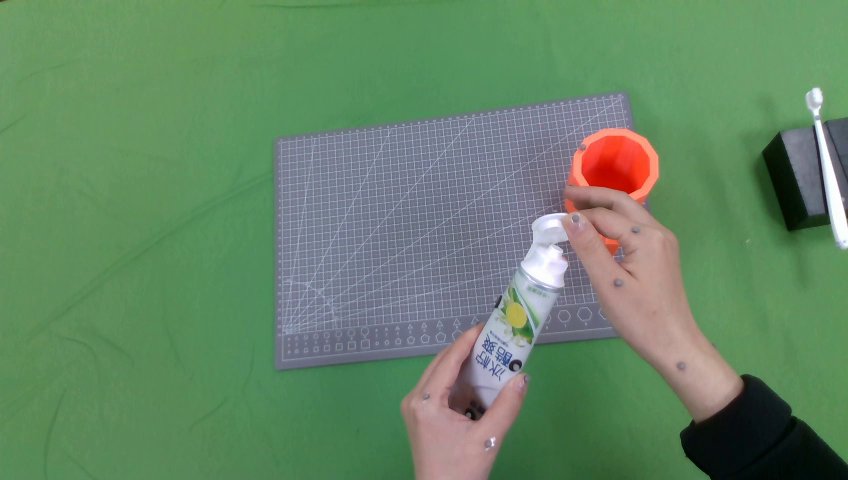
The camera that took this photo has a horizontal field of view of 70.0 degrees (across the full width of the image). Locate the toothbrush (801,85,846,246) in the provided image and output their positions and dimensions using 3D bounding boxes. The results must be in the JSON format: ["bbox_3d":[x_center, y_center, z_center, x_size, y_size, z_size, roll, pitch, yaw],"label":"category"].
[{"bbox_3d":[0.422,-0.082,0.638,0.014,0.017,0.181,-1,73,4],"label":"toothbrush"}]

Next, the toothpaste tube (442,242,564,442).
[{"bbox_3d":[0.060,0.073,0.455,0.054,0.035,0.165,38,116,38],"label":"toothpaste tube"}]

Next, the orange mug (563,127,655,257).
[{"bbox_3d":[0.198,-0.048,0.661,0.083,0.101,0.125,2,69,8],"label":"orange mug"}]

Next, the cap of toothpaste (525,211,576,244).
[{"bbox_3d":[0.090,-0.008,0.429,0.037,0.037,0.011,-6,61,5],"label":"cap of toothpaste"}]
